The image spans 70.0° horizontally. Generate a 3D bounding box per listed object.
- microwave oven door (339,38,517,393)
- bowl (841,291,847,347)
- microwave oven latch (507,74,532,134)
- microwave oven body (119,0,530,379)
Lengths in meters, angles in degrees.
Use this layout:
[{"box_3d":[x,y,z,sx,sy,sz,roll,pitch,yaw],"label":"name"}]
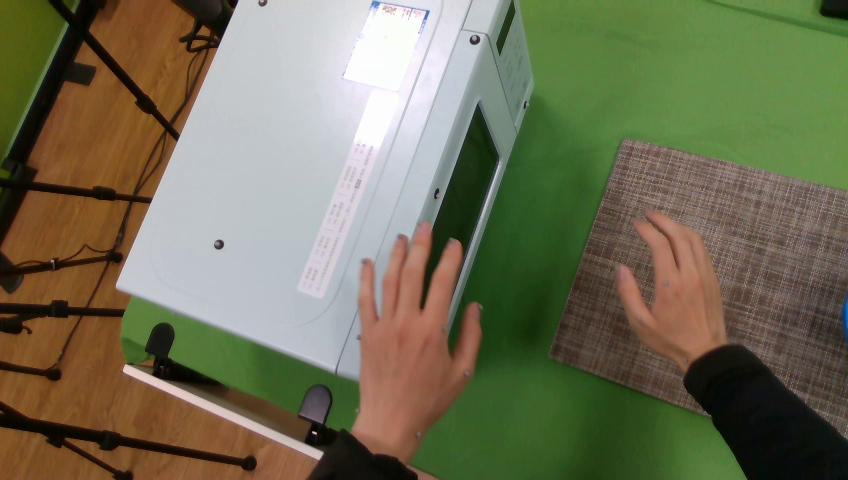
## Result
[{"box_3d":[0.019,-0.006,0.680,0.039,0.245,0.355,16,81,20],"label":"microwave oven door"},{"box_3d":[0.503,0.090,0.621,0.151,0.077,0.150,-4,75,15],"label":"bowl"},{"box_3d":[0.122,-0.183,0.806,0.030,0.030,0.079,17,82,19],"label":"microwave oven latch"},{"box_3d":[-0.098,-0.082,0.738,0.324,0.262,0.440,16,81,19],"label":"microwave oven body"}]
